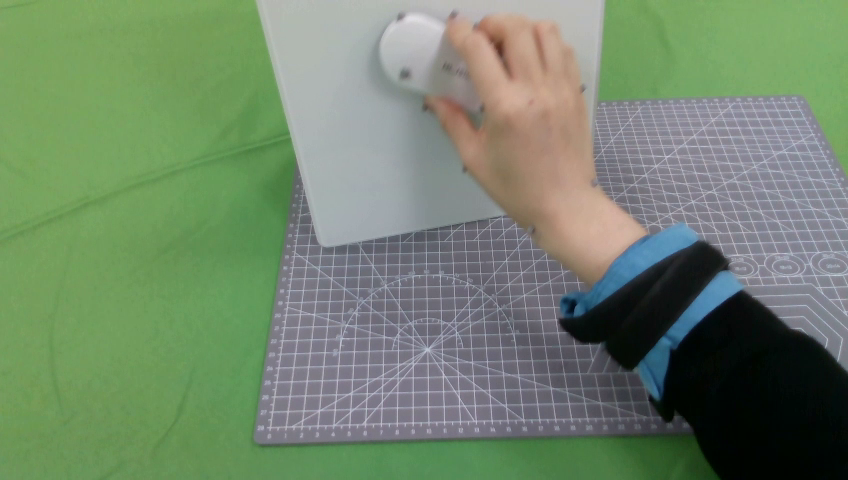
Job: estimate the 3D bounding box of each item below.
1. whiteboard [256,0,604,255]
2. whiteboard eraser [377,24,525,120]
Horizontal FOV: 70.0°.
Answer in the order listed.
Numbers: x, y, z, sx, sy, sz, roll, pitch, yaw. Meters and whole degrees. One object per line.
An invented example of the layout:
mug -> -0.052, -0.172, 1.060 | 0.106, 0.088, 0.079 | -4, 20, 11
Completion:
whiteboard -> 0.001, -0.170, 0.434 | 0.217, 0.308, 0.142 | -10, 36, -4
whiteboard eraser -> 0.019, -0.107, 0.391 | 0.102, 0.041, 0.018 | 13, 31, -22
